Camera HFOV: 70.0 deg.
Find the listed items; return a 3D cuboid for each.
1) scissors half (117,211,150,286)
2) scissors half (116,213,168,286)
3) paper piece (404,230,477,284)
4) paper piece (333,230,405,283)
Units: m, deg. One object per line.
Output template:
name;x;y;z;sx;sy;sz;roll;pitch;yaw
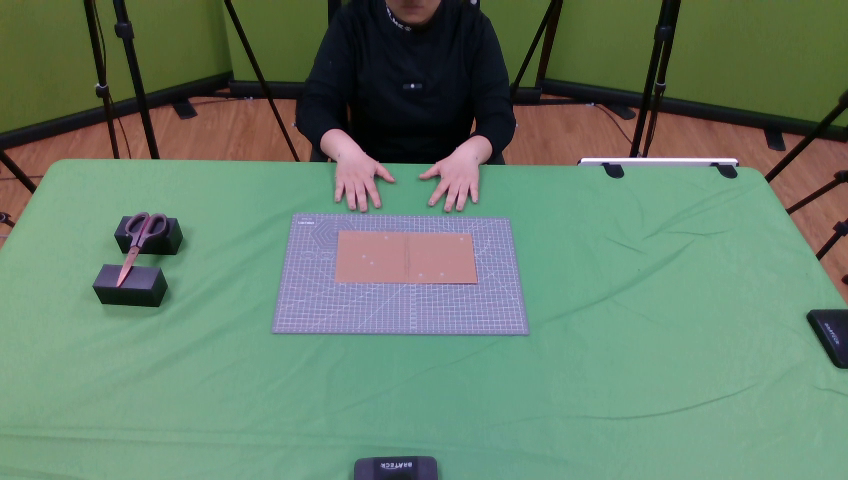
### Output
scissors half;-0.524;0.013;1.080;0.040;0.013;0.174;1;48;-11
scissors half;-0.504;0.015;1.082;0.040;0.013;0.174;10;48;5
paper piece;0.030;0.033;1.174;0.138;0.009;0.135;2;49;-3
paper piece;-0.104;0.031;1.165;0.135;0.004;0.135;2;47;-4
